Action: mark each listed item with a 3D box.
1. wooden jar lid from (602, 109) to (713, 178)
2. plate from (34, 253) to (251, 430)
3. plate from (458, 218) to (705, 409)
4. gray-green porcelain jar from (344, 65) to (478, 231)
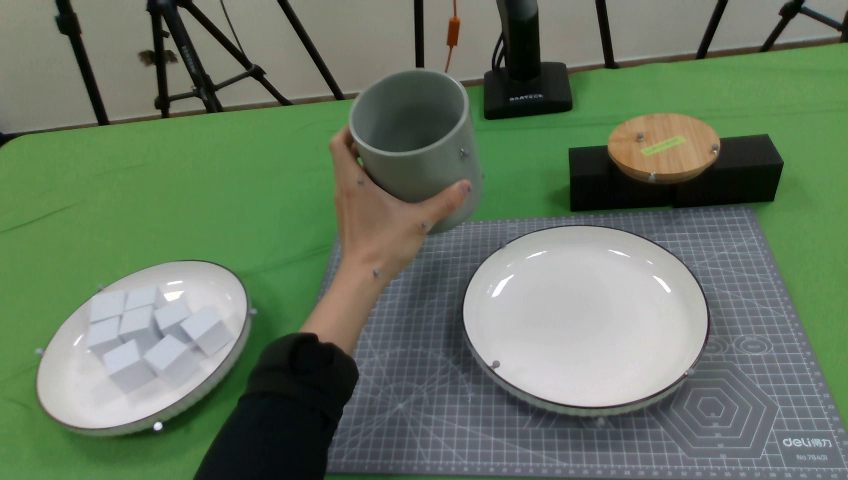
[{"bbox_3d":[0.241,-0.100,0.630,0.108,0.021,0.107,-6,44,6],"label":"wooden jar lid"},{"bbox_3d":[-0.270,0.098,0.601,0.207,0.039,0.205,-7,43,7],"label":"plate"},{"bbox_3d":[0.135,0.061,0.538,0.209,0.038,0.207,-7,43,7],"label":"plate"},{"bbox_3d":[-0.006,-0.078,0.561,0.106,0.128,0.105,-6,55,9],"label":"gray-green porcelain jar"}]
